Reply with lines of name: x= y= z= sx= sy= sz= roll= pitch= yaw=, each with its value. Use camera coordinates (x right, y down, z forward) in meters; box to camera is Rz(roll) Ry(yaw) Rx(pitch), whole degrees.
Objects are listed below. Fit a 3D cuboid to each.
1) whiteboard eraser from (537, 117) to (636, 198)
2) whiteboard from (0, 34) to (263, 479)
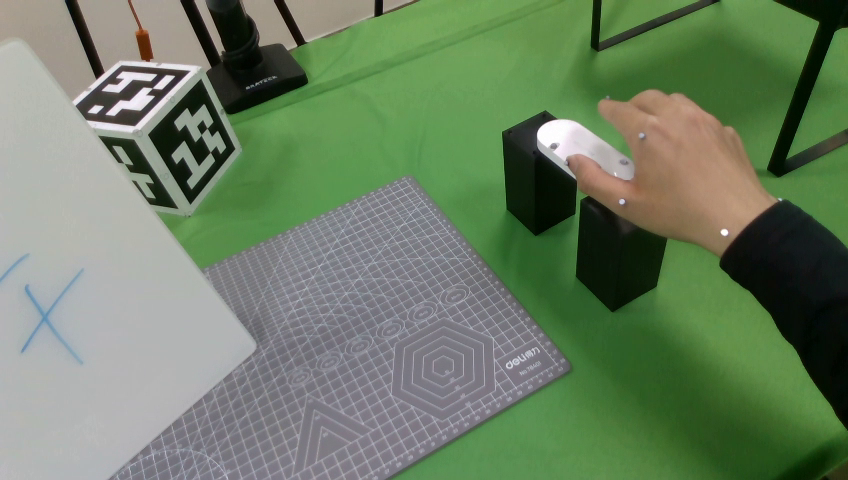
whiteboard eraser: x=0.134 y=-0.072 z=0.506 sx=0.041 sy=0.019 sz=0.100 roll=-29 pitch=51 yaw=-15
whiteboard: x=-0.318 y=0.035 z=0.476 sx=0.217 sy=0.308 sz=0.142 roll=-43 pitch=35 yaw=-24
